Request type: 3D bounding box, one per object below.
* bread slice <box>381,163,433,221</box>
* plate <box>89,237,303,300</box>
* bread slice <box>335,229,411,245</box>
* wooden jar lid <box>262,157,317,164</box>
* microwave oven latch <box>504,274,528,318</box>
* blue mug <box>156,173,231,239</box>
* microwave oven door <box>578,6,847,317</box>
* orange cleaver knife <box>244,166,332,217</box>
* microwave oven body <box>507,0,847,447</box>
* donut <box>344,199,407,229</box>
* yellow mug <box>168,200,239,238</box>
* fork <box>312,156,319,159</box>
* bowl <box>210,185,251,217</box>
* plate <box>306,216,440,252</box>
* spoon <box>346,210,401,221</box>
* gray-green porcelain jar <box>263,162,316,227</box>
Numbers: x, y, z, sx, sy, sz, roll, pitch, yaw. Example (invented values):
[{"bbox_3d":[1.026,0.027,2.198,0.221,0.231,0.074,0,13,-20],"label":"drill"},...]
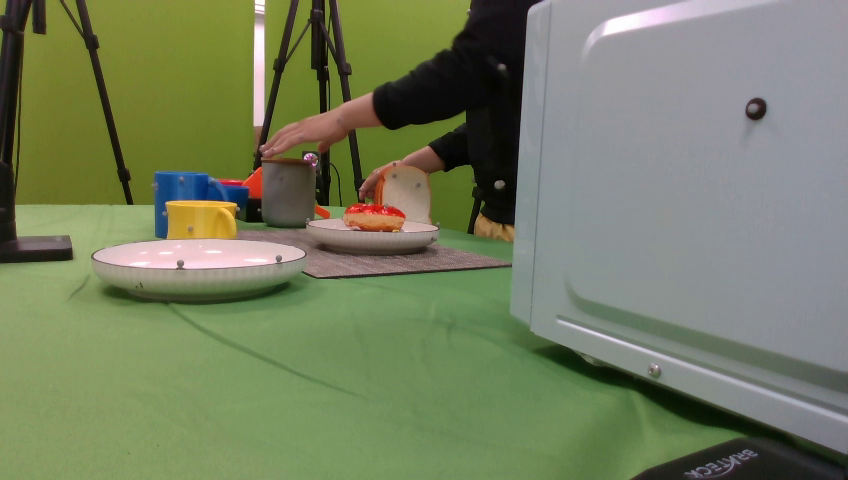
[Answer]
[{"bbox_3d":[-0.035,-0.076,1.124,0.107,0.134,0.018,-4,1,-25],"label":"bread slice"},{"bbox_3d":[-0.233,0.029,0.637,0.208,0.039,0.207,2,7,0],"label":"plate"},{"bbox_3d":[-0.074,-0.005,0.938,0.105,0.019,0.131,-1,4,-19],"label":"bread slice"},{"bbox_3d":[-0.269,-0.154,1.208,0.108,0.020,0.108,3,4,0],"label":"wooden jar lid"},{"bbox_3d":[0.100,0.041,0.471,0.079,0.029,0.030,-1,8,-28],"label":"microwave oven latch"},{"bbox_3d":[-0.381,-0.057,1.004,0.117,0.106,0.082,0,8,-12],"label":"blue mug"},{"bbox_3d":[0.294,-0.067,0.570,0.358,0.243,0.039,-3,9,-31],"label":"microwave oven door"},{"bbox_3d":[-0.301,-0.089,1.351,0.212,0.077,0.012,32,-10,-34],"label":"orange cleaver knife"},{"bbox_3d":[0.331,-0.042,0.425,0.444,0.260,0.324,-2,8,-31],"label":"microwave oven body"},{"bbox_3d":[-0.076,-0.039,0.949,0.099,0.048,0.099,3,4,0],"label":"donut"},{"bbox_3d":[-0.320,-0.023,0.904,0.130,0.064,0.100,9,10,36],"label":"yellow mug"},{"bbox_3d":[-0.331,-0.144,1.505,0.207,0.018,0.028,-42,-20,22],"label":"fork"},{"bbox_3d":[-0.408,-0.064,1.155,0.151,0.077,0.151,2,8,0],"label":"bowl"},{"bbox_3d":[-0.079,-0.011,0.950,0.209,0.038,0.209,2,8,0],"label":"plate"},{"bbox_3d":[-0.120,-0.060,1.399,0.042,0.021,0.192,-27,24,-38],"label":"spoon"},{"bbox_3d":[-0.271,-0.092,1.218,0.106,0.126,0.106,2,7,0],"label":"gray-green porcelain jar"}]
